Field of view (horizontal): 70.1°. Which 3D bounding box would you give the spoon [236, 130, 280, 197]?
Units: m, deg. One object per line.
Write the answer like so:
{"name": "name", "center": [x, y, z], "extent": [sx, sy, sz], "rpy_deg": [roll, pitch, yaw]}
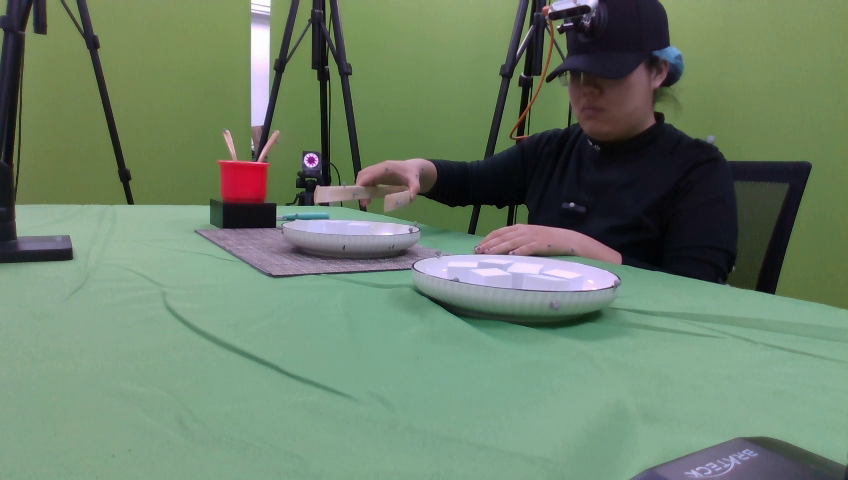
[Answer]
{"name": "spoon", "center": [-0.321, -0.154, 1.192], "extent": [0.041, 0.193, 0.022], "rpy_deg": [0, -37, 19]}

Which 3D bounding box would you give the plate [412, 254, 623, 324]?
{"name": "plate", "center": [0.090, 0.047, 0.609], "extent": [0.209, 0.038, 0.209], "rpy_deg": [2, 7, 0]}

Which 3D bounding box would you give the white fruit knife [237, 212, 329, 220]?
{"name": "white fruit knife", "center": [-0.304, -0.050, 1.328], "extent": [0.208, 0.016, 0.027], "rpy_deg": [-3, -19, -30]}

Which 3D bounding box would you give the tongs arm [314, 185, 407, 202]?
{"name": "tongs arm", "center": [-0.099, -0.084, 1.073], "extent": [0.050, 0.026, 0.385], "rpy_deg": [4, 6, 11]}

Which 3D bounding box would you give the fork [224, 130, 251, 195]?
{"name": "fork", "center": [-0.372, -0.155, 1.193], "extent": [0.028, 0.018, 0.206], "rpy_deg": [-17, 54, -13]}

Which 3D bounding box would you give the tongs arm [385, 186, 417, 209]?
{"name": "tongs arm", "center": [-0.040, -0.078, 1.064], "extent": [0.028, 0.028, 0.387], "rpy_deg": [0, 6, 5]}

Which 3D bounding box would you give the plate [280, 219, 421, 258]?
{"name": "plate", "center": [-0.108, -0.002, 0.902], "extent": [0.208, 0.039, 0.207], "rpy_deg": [3, 7, 0]}
